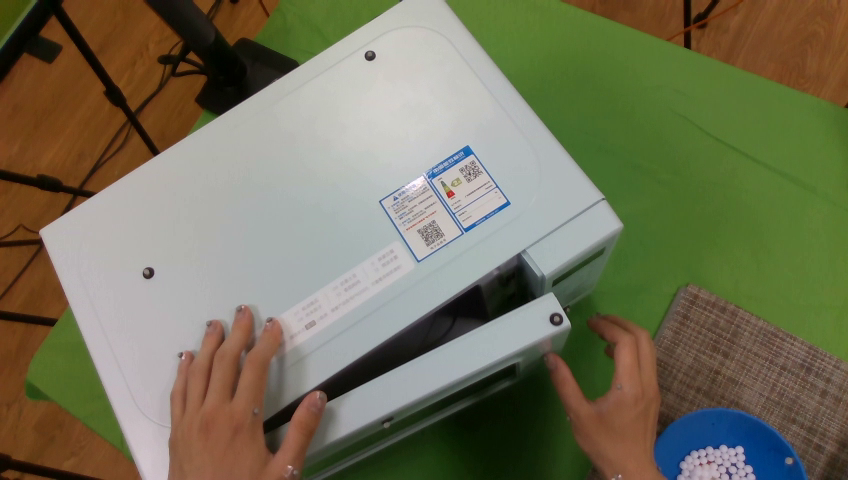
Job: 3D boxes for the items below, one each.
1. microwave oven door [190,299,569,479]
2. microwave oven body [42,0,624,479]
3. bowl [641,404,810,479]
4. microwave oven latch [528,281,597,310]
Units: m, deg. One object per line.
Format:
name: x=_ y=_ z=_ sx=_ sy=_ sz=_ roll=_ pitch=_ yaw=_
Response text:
microwave oven door: x=-0.032 y=0.166 z=0.580 sx=0.356 sy=0.245 sz=0.039 roll=-26 pitch=70 yaw=0
microwave oven body: x=-0.083 y=0.013 z=0.640 sx=0.442 sy=0.262 sz=0.323 roll=-33 pitch=71 yaw=-2
bowl: x=0.290 y=0.243 z=0.607 sx=0.151 sy=0.077 sz=0.150 roll=-3 pitch=72 yaw=8
microwave oven latch: x=0.158 y=0.061 z=0.691 sx=0.079 sy=0.030 sz=0.030 roll=-32 pitch=71 yaw=-1
